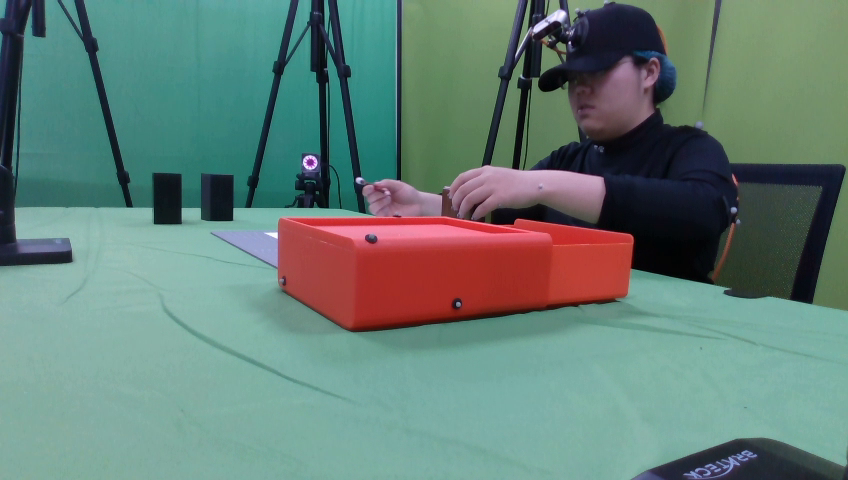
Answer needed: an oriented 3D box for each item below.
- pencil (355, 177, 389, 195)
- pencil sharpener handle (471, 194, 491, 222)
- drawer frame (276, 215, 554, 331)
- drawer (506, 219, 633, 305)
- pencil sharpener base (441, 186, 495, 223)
[{"bbox_3d":[-0.096,-0.099,1.111,0.012,0.012,0.193,0,13,-23],"label":"pencil"},{"bbox_3d":[0.095,-0.037,0.945,0.036,0.067,0.030,4,6,-30],"label":"pencil sharpener handle"},{"bbox_3d":[-0.015,0.022,0.610,0.215,0.082,0.200,-2,9,-32],"label":"drawer frame"},{"bbox_3d":[0.085,0.021,0.674,0.213,0.073,0.193,-2,9,-32],"label":"drawer"},{"bbox_3d":[0.071,-0.032,0.991,0.061,0.107,0.076,-1,8,-30],"label":"pencil sharpener base"}]
